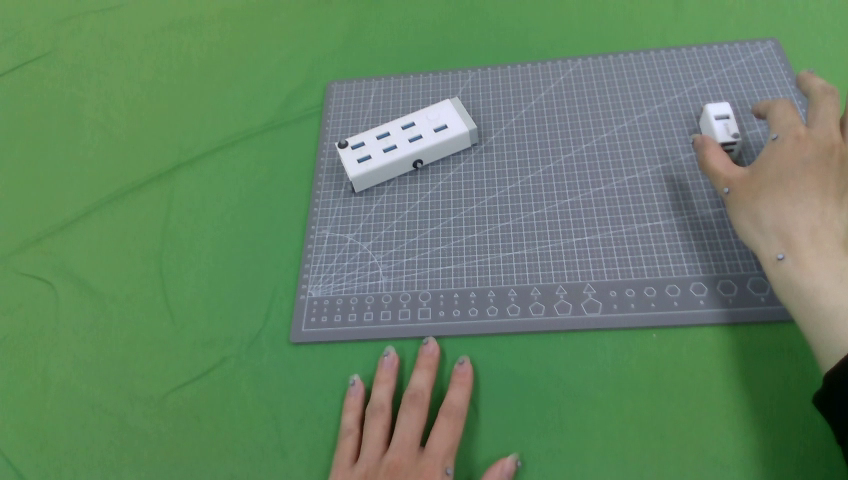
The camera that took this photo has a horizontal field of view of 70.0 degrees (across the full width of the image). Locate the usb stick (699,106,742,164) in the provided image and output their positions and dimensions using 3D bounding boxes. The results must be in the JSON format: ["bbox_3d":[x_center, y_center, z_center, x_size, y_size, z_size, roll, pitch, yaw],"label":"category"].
[{"bbox_3d":[0.253,-0.095,0.522,0.021,0.027,0.058,-4,53,7],"label":"usb stick"}]

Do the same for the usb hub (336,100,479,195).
[{"bbox_3d":[-0.015,-0.087,0.560,0.125,0.025,0.049,-22,56,-7],"label":"usb hub"}]
